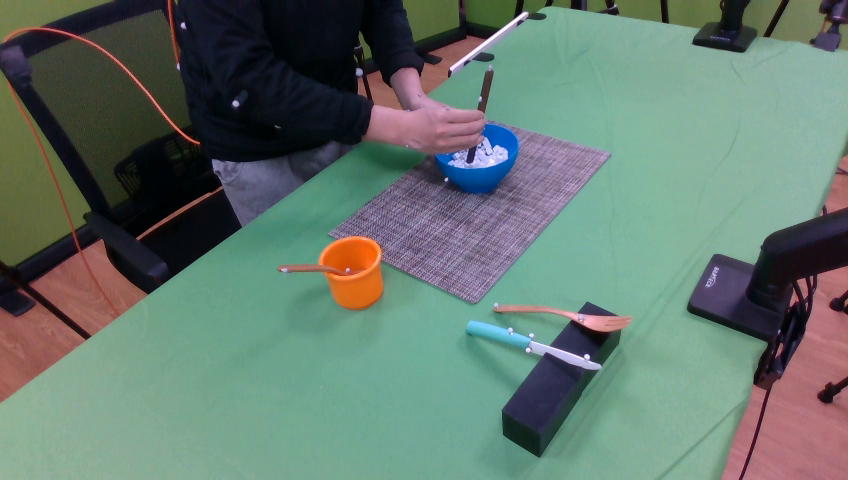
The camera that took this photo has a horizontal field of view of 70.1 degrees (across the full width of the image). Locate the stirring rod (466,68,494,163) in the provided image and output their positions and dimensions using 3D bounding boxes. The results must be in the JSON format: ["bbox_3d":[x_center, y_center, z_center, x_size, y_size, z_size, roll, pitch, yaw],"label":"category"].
[{"bbox_3d":[0.088,-0.193,0.963,0.014,0.176,0.005,-15,50,-23],"label":"stirring rod"}]

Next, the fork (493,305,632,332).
[{"bbox_3d":[0.171,0.097,0.783,0.205,0.019,0.028,4,41,43],"label":"fork"}]

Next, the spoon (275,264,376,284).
[{"bbox_3d":[-0.133,0.044,0.839,0.041,0.195,0.021,25,95,33],"label":"spoon"}]

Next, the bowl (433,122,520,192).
[{"bbox_3d":[0.093,-0.137,1.064,0.151,0.077,0.150,-4,41,4],"label":"bowl"}]

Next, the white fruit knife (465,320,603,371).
[{"bbox_3d":[0.128,0.129,0.749,0.205,0.027,0.016,10,45,43],"label":"white fruit knife"}]
